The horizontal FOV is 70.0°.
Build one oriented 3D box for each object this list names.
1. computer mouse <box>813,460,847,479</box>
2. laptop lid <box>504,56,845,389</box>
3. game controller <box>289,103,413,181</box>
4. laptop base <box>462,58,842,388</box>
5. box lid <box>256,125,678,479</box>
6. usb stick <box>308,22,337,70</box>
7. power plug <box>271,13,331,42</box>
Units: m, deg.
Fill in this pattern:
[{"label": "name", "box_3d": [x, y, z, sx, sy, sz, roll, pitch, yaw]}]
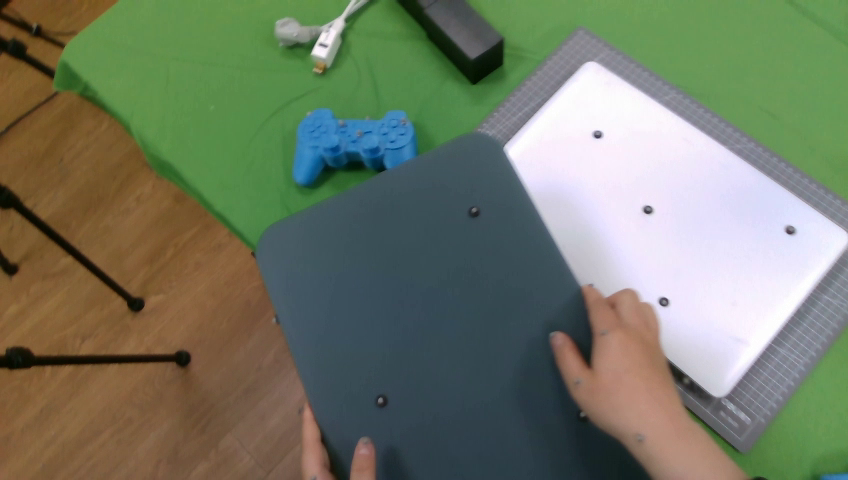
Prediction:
[{"label": "computer mouse", "box_3d": [0.428, 0.234, 0.562, 0.117, 0.041, 0.062, -4, 67, 0]}, {"label": "laptop lid", "box_3d": [0.244, -0.037, 0.675, 0.241, 0.013, 0.354, -45, 72, -7]}, {"label": "game controller", "box_3d": [-0.088, -0.121, 0.738, 0.155, 0.052, 0.096, 3, 69, 7]}, {"label": "laptop base", "box_3d": [0.246, -0.035, 0.687, 0.352, 0.023, 0.235, 41, 82, 17]}, {"label": "box lid", "box_3d": [0.023, 0.089, 0.538, 0.263, 0.015, 0.369, -25, 73, -2]}, {"label": "usb stick", "box_3d": [-0.136, -0.254, 0.798, 0.021, 0.027, 0.059, 21, 81, 4]}, {"label": "power plug", "box_3d": [-0.170, -0.286, 0.820, 0.073, 0.035, 0.052, -11, 36, -36]}]
